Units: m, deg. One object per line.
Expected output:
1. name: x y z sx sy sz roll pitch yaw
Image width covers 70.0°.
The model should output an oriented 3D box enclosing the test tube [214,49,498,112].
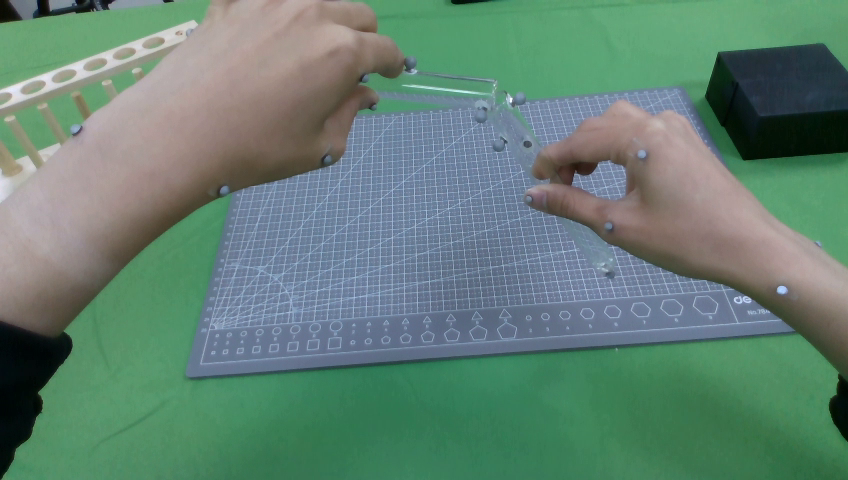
1. test tube: -0.037 -0.084 0.313 0.150 0.017 0.017 8 50 7

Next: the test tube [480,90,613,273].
1. test tube: 0.076 -0.027 0.351 0.017 0.152 0.017 -25 39 23

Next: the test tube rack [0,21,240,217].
1. test tube rack: -0.318 -0.124 0.598 0.242 0.086 0.066 -29 52 -19
